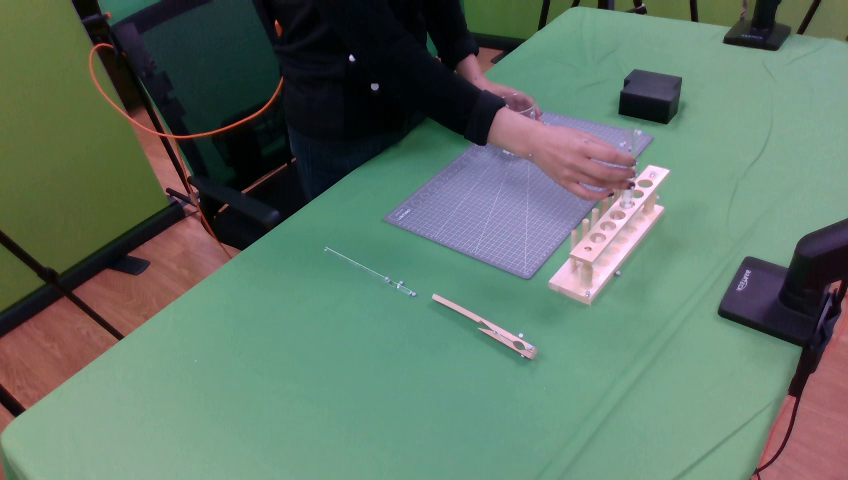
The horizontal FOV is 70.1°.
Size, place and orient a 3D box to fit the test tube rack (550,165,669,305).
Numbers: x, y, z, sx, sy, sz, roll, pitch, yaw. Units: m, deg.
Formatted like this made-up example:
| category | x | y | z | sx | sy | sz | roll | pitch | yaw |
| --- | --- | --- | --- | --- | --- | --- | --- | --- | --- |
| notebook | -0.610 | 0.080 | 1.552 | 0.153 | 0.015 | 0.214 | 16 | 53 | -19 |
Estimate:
| category | x | y | z | sx | sy | sz | roll | pitch | yaw |
| --- | --- | --- | --- | --- | --- | --- | --- | --- | --- |
| test tube rack | 0.279 | -0.018 | 0.902 | 0.066 | 0.085 | 0.243 | 24 | 50 | 33 |

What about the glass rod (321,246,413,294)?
| category | x | y | z | sx | sy | sz | roll | pitch | yaw |
| --- | --- | --- | --- | --- | --- | --- | --- | --- | --- |
| glass rod | -0.093 | 0.045 | 0.955 | 0.198 | 0.008 | 0.008 | 24 | 51 | 32 |

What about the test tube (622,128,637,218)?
| category | x | y | z | sx | sy | sz | roll | pitch | yaw |
| --- | --- | --- | --- | --- | --- | --- | --- | --- | --- |
| test tube | 0.285 | -0.088 | 0.841 | 0.017 | 0.151 | 0.017 | -8 | 40 | 7 |

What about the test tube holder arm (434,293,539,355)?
| category | x | y | z | sx | sy | sz | roll | pitch | yaw |
| --- | --- | --- | --- | --- | --- | --- | --- | --- | --- |
| test tube holder arm | 0.081 | 0.114 | 0.833 | 0.177 | 0.015 | 0.013 | 27 | 84 | 37 |

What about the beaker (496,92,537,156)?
| category | x | y | z | sx | sy | sz | roll | pitch | yaw |
| --- | --- | --- | --- | --- | --- | --- | --- | --- | --- |
| beaker | 0.173 | -0.214 | 1.137 | 0.084 | 0.101 | 0.073 | -36 | 46 | -27 |

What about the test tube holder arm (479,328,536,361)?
| category | x | y | z | sx | sy | sz | roll | pitch | yaw |
| --- | --- | --- | --- | --- | --- | --- | --- | --- | --- |
| test tube holder arm | 0.110 | 0.135 | 0.805 | 0.087 | 0.015 | 0.010 | 28 | 85 | 37 |
